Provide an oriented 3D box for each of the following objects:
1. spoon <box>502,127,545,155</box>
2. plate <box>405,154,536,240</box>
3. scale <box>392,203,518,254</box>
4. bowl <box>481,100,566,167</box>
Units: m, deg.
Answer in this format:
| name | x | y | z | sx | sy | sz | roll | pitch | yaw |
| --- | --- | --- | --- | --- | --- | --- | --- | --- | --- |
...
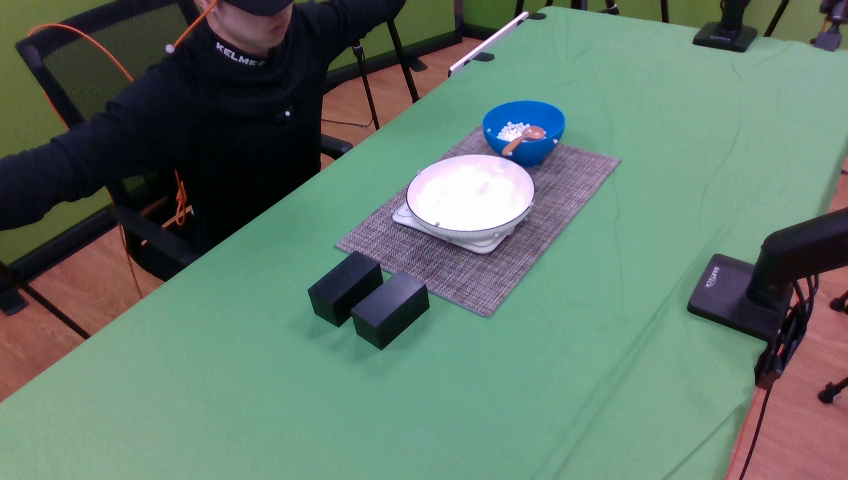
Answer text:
| name | x | y | z | sx | sy | sz | roll | pitch | yaw |
| --- | --- | --- | --- | --- | --- | --- | --- | --- | --- |
| spoon | 0.169 | -0.173 | 1.046 | 0.041 | 0.021 | 0.194 | 21 | 25 | 20 |
| plate | 0.075 | -0.067 | 0.973 | 0.209 | 0.038 | 0.208 | -4 | 41 | 4 |
| scale | 0.060 | -0.051 | 1.006 | 0.199 | 0.032 | 0.149 | 22 | 48 | 30 |
| bowl | 0.183 | -0.186 | 1.111 | 0.151 | 0.077 | 0.150 | -4 | 41 | 4 |
